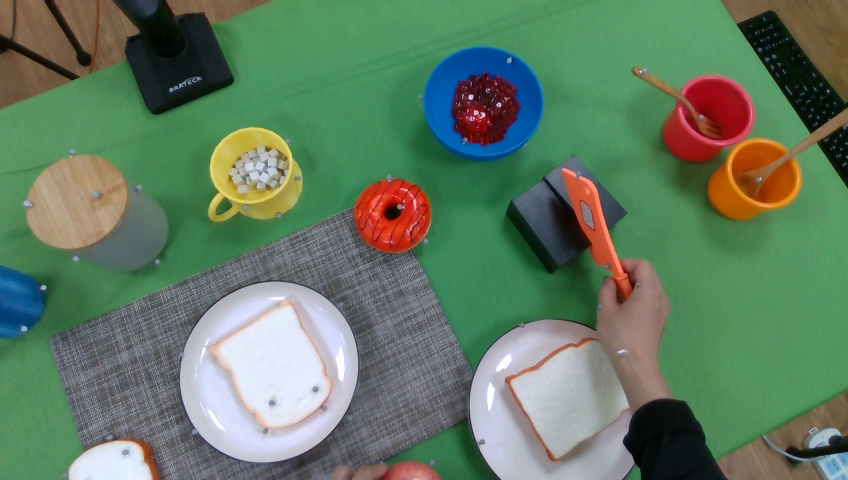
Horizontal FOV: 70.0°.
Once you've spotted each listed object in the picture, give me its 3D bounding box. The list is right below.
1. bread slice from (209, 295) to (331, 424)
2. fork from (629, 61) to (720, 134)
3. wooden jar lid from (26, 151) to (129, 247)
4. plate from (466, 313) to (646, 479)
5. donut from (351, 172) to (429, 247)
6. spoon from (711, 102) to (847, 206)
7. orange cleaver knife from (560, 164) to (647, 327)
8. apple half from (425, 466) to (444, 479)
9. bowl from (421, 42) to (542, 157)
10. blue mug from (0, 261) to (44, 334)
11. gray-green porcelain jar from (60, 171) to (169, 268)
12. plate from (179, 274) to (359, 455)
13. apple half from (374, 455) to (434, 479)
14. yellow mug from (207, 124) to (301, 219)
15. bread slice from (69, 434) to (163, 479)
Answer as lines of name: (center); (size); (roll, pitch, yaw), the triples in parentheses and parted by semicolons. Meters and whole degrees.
bread slice: (-0.172, 0.146, 0.716); (0.107, 0.018, 0.133); (-36, 78, -8)
fork: (0.315, -0.175, 0.751); (0.209, 0.018, 0.028); (19, 70, -39)
wooden jar lid: (-0.371, -0.043, 0.655); (0.108, 0.021, 0.108); (0, 74, 1)
plate: (0.152, 0.191, 0.711); (0.209, 0.038, 0.208); (0, 76, 0)
donut: (-0.042, -0.038, 0.760); (0.099, 0.048, 0.098); (0, 76, -1)
spoon: (0.438, -0.107, 0.734); (0.022, 0.194, 0.041); (-15, 68, -51)
orange cleaver knife: (0.210, 0.006, 0.715); (0.012, 0.077, 0.212); (-28, 105, -7)
apple half: (0.006, 0.289, 0.665); (0.032, 0.082, 0.081); (28, 77, 12)
bowl: (0.071, -0.168, 0.781); (0.151, 0.077, 0.150); (0, 76, 0)
blue mug: (-0.522, 0.074, 0.698); (0.082, 0.106, 0.116); (38, 79, 9)
gray-green porcelain jar: (-0.371, -0.027, 0.715); (0.106, 0.127, 0.105); (0, 75, 0)
plate: (-0.179, 0.145, 0.716); (0.208, 0.039, 0.206); (0, 76, -1)
apple half: (-0.029, 0.272, 0.671); (0.053, 0.075, 0.080); (28, 83, 12)
yellow mug: (-0.221, -0.076, 0.761); (0.099, 0.064, 0.130); (40, 79, 9)
bread slice: (-0.351, 0.291, 0.687); (0.105, 0.019, 0.131); (-17, 78, -6)
